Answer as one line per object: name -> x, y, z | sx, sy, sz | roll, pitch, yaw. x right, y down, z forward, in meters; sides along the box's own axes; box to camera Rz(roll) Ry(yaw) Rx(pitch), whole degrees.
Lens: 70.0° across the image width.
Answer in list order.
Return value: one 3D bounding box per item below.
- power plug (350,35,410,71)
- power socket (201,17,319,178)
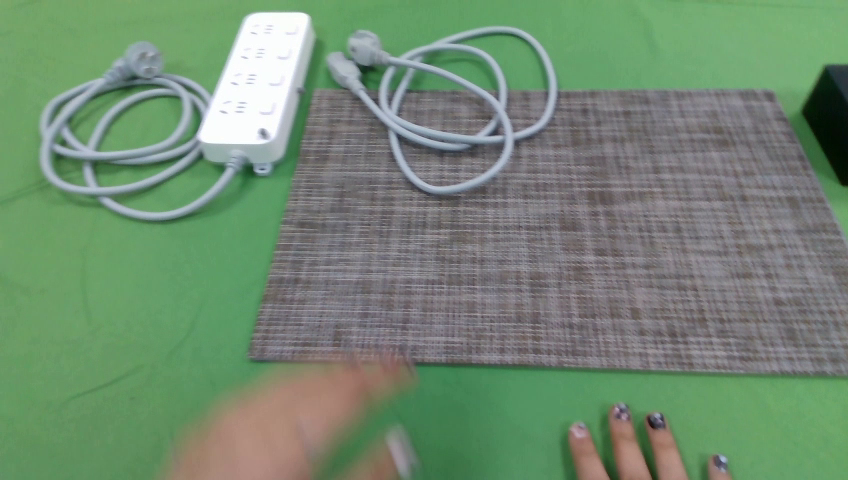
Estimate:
power plug -> -0.043, -0.185, 0.627 | 0.072, 0.035, 0.052 | 31, 33, 5
power socket -> -0.157, -0.153, 0.601 | 0.072, 0.033, 0.224 | 2, 52, 4
